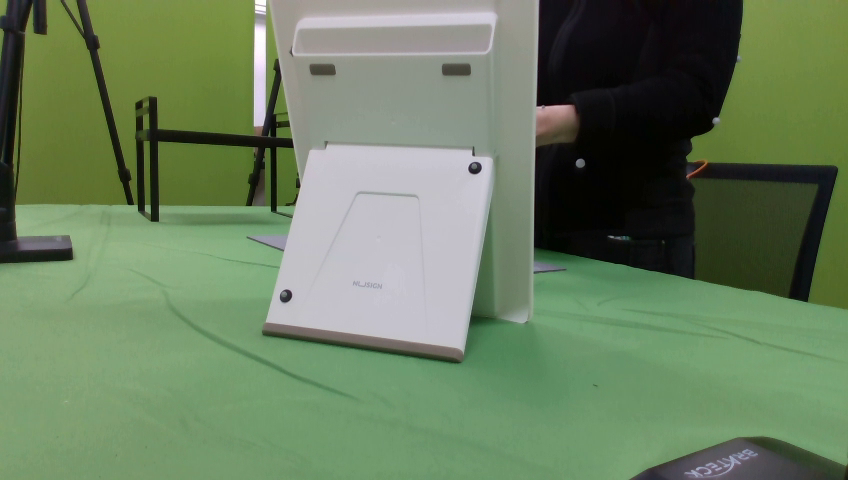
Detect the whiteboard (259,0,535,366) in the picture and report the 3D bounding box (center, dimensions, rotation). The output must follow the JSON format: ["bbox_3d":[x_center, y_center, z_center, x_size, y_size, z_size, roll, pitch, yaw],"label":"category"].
[{"bbox_3d":[-0.037,-0.040,0.457,0.216,0.305,0.144,5,28,19],"label":"whiteboard"}]

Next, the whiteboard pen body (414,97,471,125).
[{"bbox_3d":[0.027,-0.194,0.914,0.017,0.017,0.140,-3,26,-36],"label":"whiteboard pen body"}]

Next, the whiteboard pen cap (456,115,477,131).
[{"bbox_3d":[0.060,-0.170,0.873,0.018,0.018,0.033,-4,26,-38],"label":"whiteboard pen cap"}]
